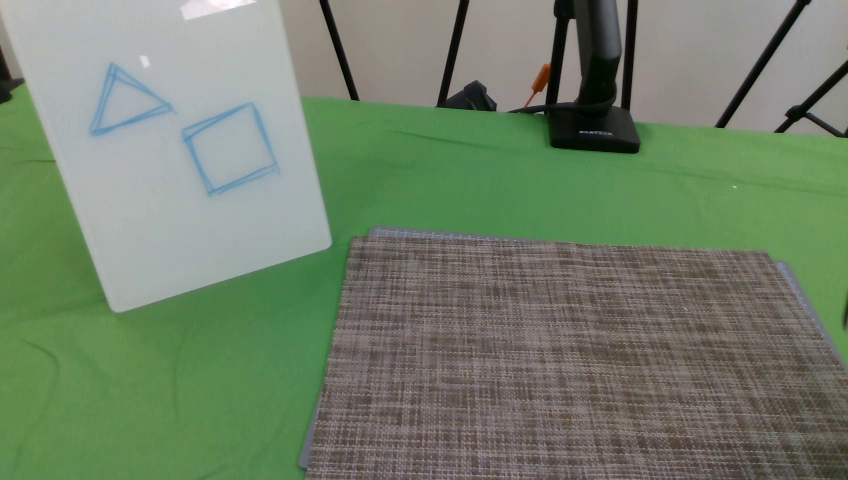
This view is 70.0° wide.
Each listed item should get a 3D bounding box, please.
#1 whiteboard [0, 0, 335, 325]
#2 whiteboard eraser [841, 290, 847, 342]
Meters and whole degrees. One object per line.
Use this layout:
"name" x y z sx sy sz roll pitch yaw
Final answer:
"whiteboard" -0.240 -0.110 0.601 0.218 0.307 0.142 -18 23 -24
"whiteboard eraser" 0.344 0.065 0.407 0.112 0.042 0.055 22 62 9
